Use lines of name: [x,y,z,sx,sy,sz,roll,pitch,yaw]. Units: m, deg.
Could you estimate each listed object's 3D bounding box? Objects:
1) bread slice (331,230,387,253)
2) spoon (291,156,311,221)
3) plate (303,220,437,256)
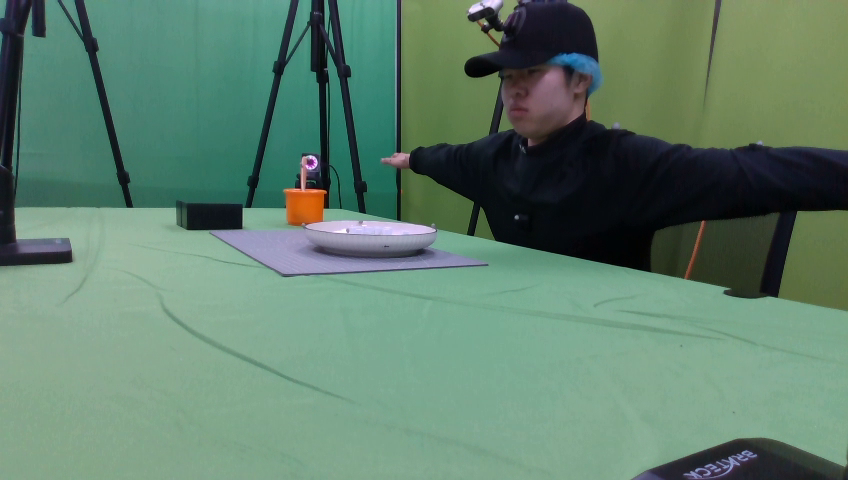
bread slice: [-0.088,0.000,0.947,0.105,0.019,0.131,-4,11,-44]
spoon: [-0.268,-0.117,1.330,0.042,0.021,0.193,2,47,-12]
plate: [-0.084,-0.003,0.951,0.209,0.038,0.209,3,7,0]
